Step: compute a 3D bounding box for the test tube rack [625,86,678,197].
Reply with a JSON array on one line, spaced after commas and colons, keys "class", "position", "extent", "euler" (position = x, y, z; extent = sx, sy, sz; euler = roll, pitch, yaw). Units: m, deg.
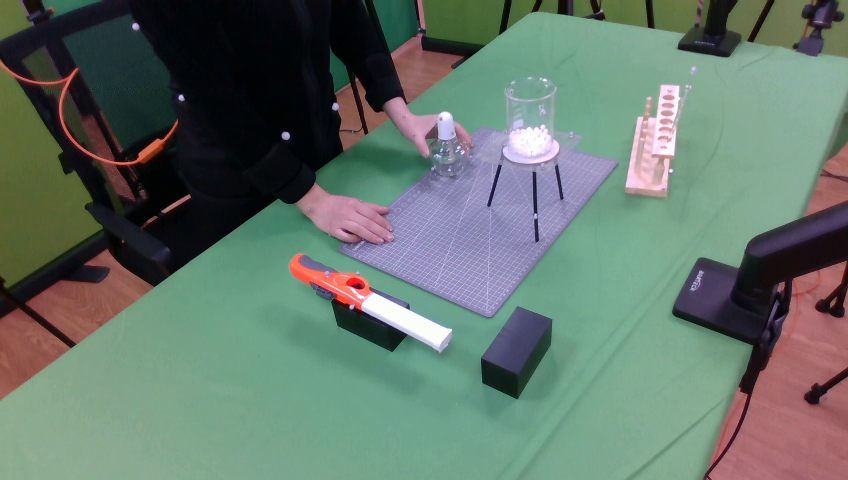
[{"class": "test tube rack", "position": [0.412, -0.184, 1.088], "extent": [0.066, 0.085, 0.242], "euler": [9, 43, 18]}]

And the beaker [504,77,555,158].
[{"class": "beaker", "position": [0.160, -0.181, 0.900], "extent": [0.084, 0.101, 0.073], "euler": [-32, 45, -27]}]

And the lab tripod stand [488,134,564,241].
[{"class": "lab tripod stand", "position": [0.168, -0.092, 0.972], "extent": [0.148, 0.132, 0.147], "euler": [-5, 41, 5]}]

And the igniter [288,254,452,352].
[{"class": "igniter", "position": [-0.084, 0.079, 0.818], "extent": [0.274, 0.025, 0.057], "euler": [23, 46, 27]}]

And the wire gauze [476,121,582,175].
[{"class": "wire gauze", "position": [0.162, -0.142, 0.929], "extent": [0.120, 0.011, 0.125], "euler": [19, 49, 32]}]

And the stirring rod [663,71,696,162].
[{"class": "stirring rod", "position": [0.410, -0.195, 0.981], "extent": [0.014, 0.177, 0.006], "euler": [11, 50, 13]}]

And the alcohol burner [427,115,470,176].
[{"class": "alcohol burner", "position": [0.042, -0.175, 1.087], "extent": [0.078, 0.120, 0.077], "euler": [-6, 44, 6]}]

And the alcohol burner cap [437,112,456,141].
[{"class": "alcohol burner cap", "position": [0.038, -0.202, 1.063], "extent": [0.034, 0.048, 0.033], "euler": [-6, 38, 5]}]
